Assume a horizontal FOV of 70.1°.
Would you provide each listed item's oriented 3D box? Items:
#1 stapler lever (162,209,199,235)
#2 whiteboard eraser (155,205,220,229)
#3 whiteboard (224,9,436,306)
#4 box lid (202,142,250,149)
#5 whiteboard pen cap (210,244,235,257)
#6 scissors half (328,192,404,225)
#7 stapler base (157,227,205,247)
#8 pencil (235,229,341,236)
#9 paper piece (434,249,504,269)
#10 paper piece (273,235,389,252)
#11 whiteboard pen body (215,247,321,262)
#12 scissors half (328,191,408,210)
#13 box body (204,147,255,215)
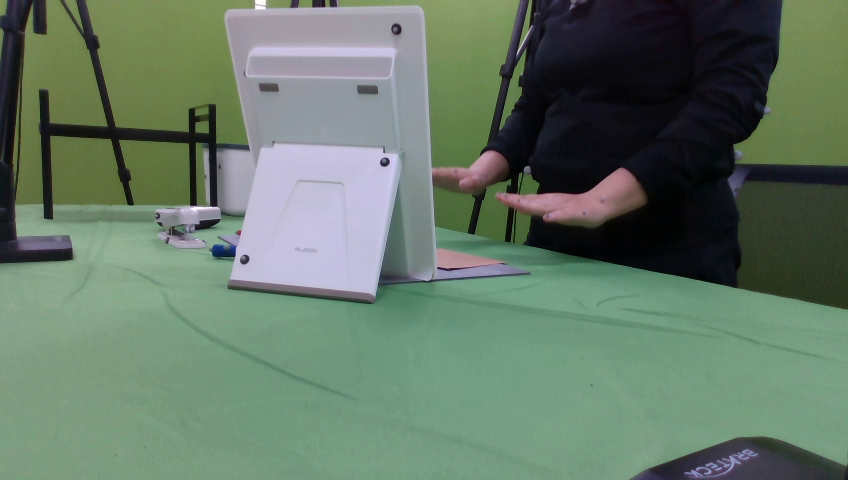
[{"bbox_3d":[-0.376,-0.031,0.933,0.027,0.040,0.117,1,7,-38],"label":"stapler lever"},{"bbox_3d":[-0.428,-0.041,1.100,0.055,0.042,0.113,7,8,19],"label":"whiteboard eraser"},{"bbox_3d":[-0.117,-0.065,0.617,0.217,0.305,0.144,5,29,16],"label":"whiteboard"},{"bbox_3d":[-0.344,-0.225,1.509,0.373,0.015,0.262,-2,8,-31],"label":"box lid"},{"bbox_3d":[-0.266,0.015,0.806,0.033,0.018,0.018,2,7,-1],"label":"whiteboard pen cap"},{"bbox_3d":[-0.127,-0.072,1.321,0.175,0.040,0.013,22,6,-5],"label":"scissors half"},{"bbox_3d":[-0.376,-0.007,0.935,0.041,0.024,0.130,1,5,-38],"label":"stapler base"},{"bbox_3d":[-0.232,-0.012,1.053,0.195,0.012,0.012,0,8,-36],"label":"pencil"},{"bbox_3d":[0.025,0.026,0.865,0.134,0.004,0.136,9,9,43],"label":"paper piece"},{"bbox_3d":[-0.151,0.003,0.978,0.135,0.008,0.139,13,10,35],"label":"paper piece"},{"bbox_3d":[-0.208,0.018,0.805,0.141,0.017,0.017,2,7,1],"label":"whiteboard pen body"},{"bbox_3d":[-0.122,-0.091,1.318,0.175,0.040,0.013,5,12,-3],"label":"scissors half"},{"bbox_3d":[-0.347,-0.152,1.519,0.366,0.160,0.253,-2,9,-31],"label":"box body"}]
